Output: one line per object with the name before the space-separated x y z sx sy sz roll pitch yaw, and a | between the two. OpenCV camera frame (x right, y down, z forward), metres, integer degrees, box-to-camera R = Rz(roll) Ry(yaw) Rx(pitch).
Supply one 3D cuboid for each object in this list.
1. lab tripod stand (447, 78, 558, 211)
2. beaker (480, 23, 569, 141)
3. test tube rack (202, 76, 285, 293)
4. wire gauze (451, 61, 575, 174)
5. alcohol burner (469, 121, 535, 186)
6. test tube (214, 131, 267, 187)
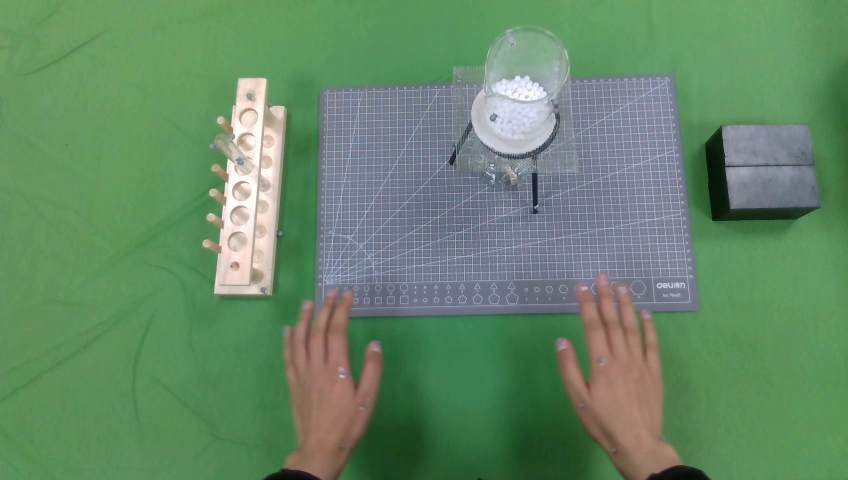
lab tripod stand | 0.098 -0.116 0.687 0.148 0.132 0.147 -1 75 4
beaker | 0.089 -0.142 0.576 0.084 0.101 0.073 -34 78 -6
test tube rack | -0.217 -0.063 0.717 0.067 0.085 0.241 1 78 3
wire gauze | 0.091 -0.127 0.622 0.125 0.011 0.121 0 78 0
alcohol burner | 0.092 -0.106 0.695 0.078 0.119 0.077 0 76 1
test tube | -0.200 -0.086 0.671 0.017 0.151 0.017 0 78 1
